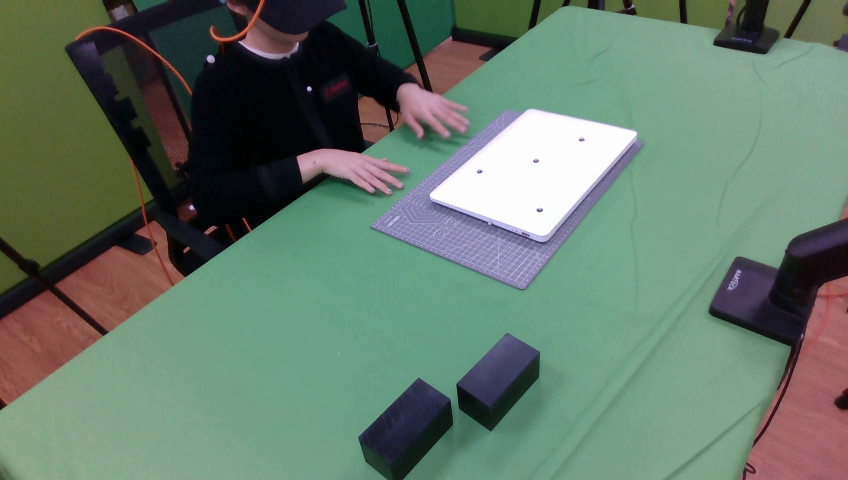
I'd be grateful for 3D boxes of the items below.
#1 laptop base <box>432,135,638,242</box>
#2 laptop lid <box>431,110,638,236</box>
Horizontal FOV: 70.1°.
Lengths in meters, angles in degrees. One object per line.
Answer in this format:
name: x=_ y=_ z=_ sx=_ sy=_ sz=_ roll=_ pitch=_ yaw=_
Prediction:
laptop base: x=0.208 y=-0.129 z=1.098 sx=0.233 sy=0.023 sz=0.355 roll=20 pitch=47 yaw=33
laptop lid: x=0.205 y=-0.138 z=1.092 sx=0.239 sy=0.013 sz=0.358 roll=23 pitch=49 yaw=34
